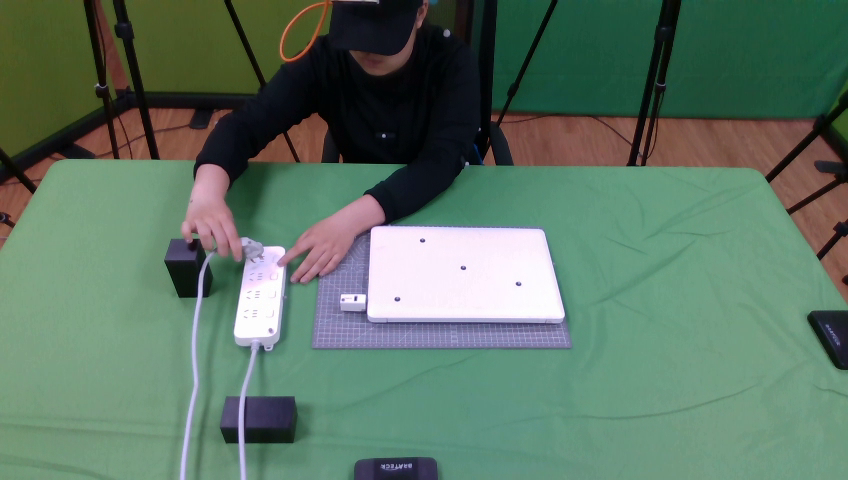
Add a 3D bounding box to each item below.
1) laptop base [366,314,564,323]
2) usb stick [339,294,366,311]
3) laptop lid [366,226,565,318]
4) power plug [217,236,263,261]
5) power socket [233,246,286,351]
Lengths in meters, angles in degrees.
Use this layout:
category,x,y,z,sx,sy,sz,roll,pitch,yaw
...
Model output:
category,x,y,z,sx,sy,sz,roll,pitch,yaw
laptop base,0.071,0.065,1.144,0.355,0.023,0.234,1,43,-4
usb stick,-0.119,0.111,1.068,0.059,0.027,0.021,4,47,-5
laptop lid,0.071,0.054,1.137,0.357,0.013,0.240,2,44,-3
power plug,-0.323,0.015,1.084,0.072,0.053,0.035,6,48,13
power socket,-0.289,0.095,1.077,0.072,0.033,0.225,-2,46,-5
